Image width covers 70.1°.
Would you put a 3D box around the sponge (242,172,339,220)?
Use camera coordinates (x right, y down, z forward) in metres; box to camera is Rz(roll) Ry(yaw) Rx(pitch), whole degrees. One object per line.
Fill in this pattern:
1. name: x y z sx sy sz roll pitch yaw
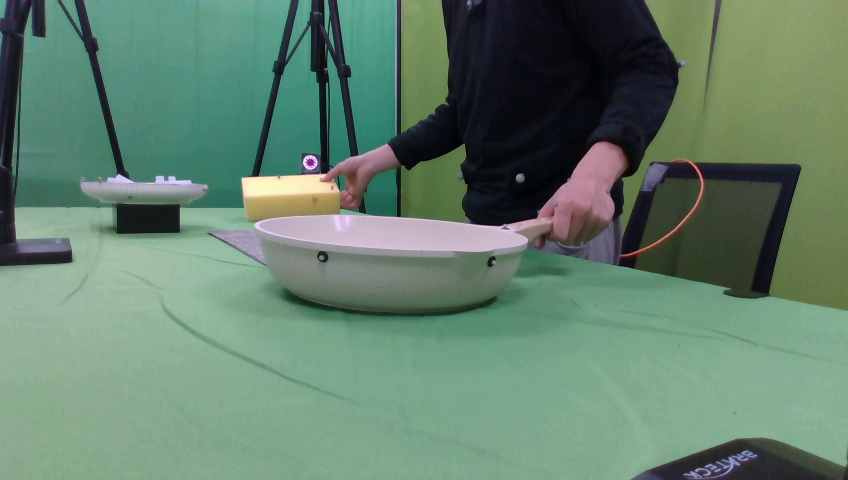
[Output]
1. sponge: -0.306 -0.103 1.384 0.208 0.061 0.117 -5 28 -19

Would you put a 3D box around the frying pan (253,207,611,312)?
1. frying pan: 0.052 -0.001 0.715 0.490 0.102 0.305 -11 15 -31

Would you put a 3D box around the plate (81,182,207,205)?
1. plate: -0.505 -0.086 1.100 0.208 0.039 0.207 1 6 0
